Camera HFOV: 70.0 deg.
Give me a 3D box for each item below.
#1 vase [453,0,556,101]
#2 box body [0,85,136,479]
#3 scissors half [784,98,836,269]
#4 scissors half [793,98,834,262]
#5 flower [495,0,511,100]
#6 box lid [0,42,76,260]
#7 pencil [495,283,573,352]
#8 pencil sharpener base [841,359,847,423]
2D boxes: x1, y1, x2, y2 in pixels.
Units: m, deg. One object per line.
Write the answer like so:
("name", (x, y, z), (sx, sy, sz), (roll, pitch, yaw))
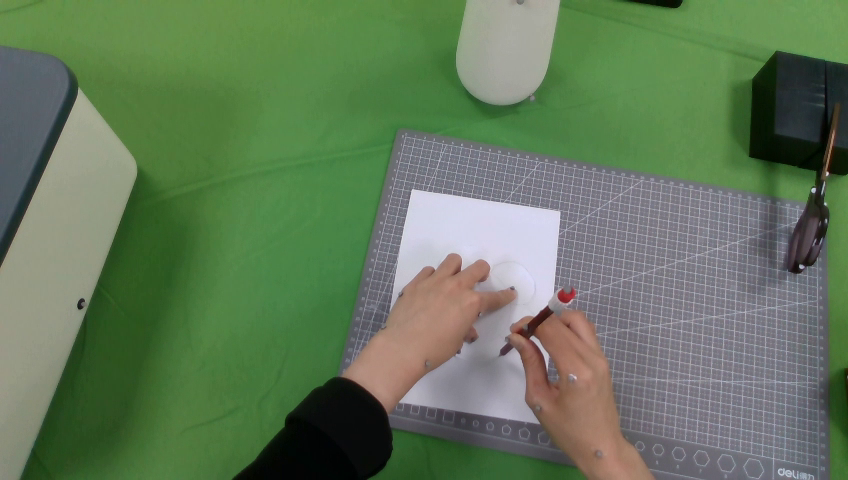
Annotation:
("vase", (0.079, -0.220, 0.575), (0.098, 0.201, 0.097), (0, 70, 0))
("box body", (-0.434, 0.026, 0.501), (0.254, 0.161, 0.362), (11, 72, 3))
("scissors half", (0.379, -0.056, 0.591), (0.012, 0.040, 0.175), (16, 90, 19))
("scissors half", (0.374, -0.061, 0.572), (0.013, 0.040, 0.174), (16, 72, 14))
("flower", (0.076, -0.260, 0.501), (0.044, 0.365, 0.038), (4, 53, 4))
("box lid", (-0.433, -0.001, 0.430), (0.263, 0.015, 0.369), (11, 71, 2))
("pencil", (0.079, 0.068, 0.477), (0.012, 0.195, 0.012), (3, 68, -7))
("pencil sharpener base", (0.418, 0.135, 0.512), (0.061, 0.107, 0.076), (6, 71, 1))
